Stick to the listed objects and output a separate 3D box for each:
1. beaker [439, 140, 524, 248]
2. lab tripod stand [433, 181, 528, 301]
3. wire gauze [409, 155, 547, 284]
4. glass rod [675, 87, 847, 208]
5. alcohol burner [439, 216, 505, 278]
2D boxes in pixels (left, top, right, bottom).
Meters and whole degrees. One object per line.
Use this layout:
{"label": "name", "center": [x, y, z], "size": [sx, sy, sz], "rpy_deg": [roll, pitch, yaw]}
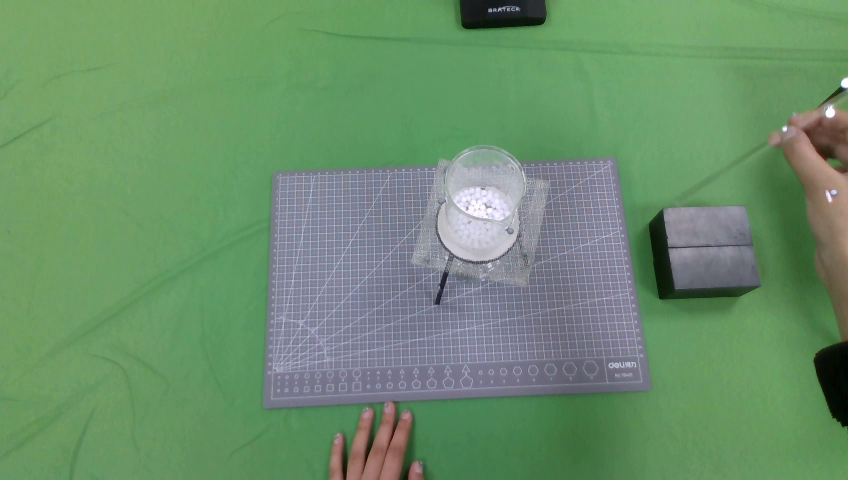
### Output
{"label": "beaker", "center": [0.054, -0.036, 0.582], "size": [0.074, 0.101, 0.083], "rpy_deg": [-29, 74, -8]}
{"label": "lab tripod stand", "center": [0.052, -0.003, 0.691], "size": [0.148, 0.132, 0.147], "rpy_deg": [-1, 72, 2]}
{"label": "wire gauze", "center": [0.058, -0.023, 0.628], "size": [0.121, 0.011, 0.124], "rpy_deg": [14, 71, 4]}
{"label": "glass rod", "center": [0.287, -0.079, 0.507], "size": [0.008, 0.200, 0.008], "rpy_deg": [16, 55, -23]}
{"label": "alcohol burner", "center": [0.056, 0.003, 0.699], "size": [0.078, 0.120, 0.077], "rpy_deg": [-1, 73, 2]}
